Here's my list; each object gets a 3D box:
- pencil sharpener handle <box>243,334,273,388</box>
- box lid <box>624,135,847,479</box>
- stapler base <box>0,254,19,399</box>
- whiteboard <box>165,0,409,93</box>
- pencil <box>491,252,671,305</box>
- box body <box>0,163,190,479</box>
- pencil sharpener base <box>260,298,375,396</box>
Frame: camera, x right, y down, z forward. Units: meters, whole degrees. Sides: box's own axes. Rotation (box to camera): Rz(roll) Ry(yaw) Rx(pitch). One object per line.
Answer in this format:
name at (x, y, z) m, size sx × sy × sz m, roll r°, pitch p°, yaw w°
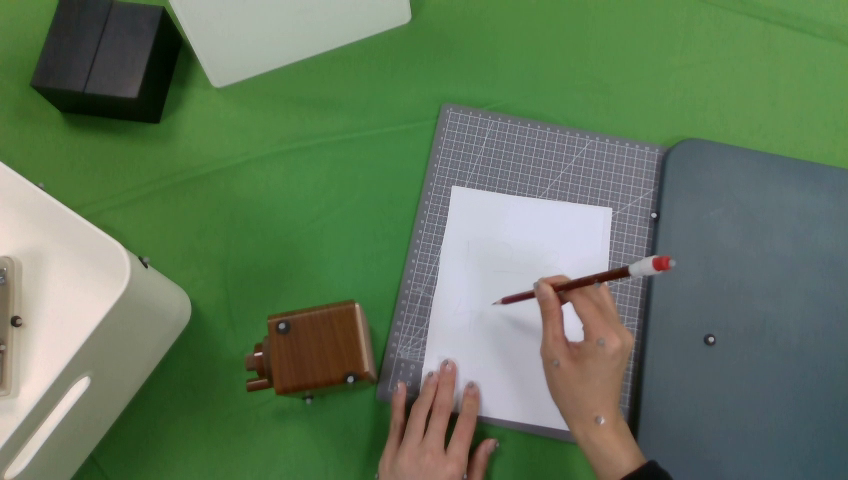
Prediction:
pencil sharpener handle at (-0.134, 0.101, 0.478) m, size 0.031 × 0.068 × 0.035 m, roll -10°, pitch 59°, yaw -4°
box lid at (0.331, 0.087, 0.561) m, size 0.263 × 0.015 × 0.369 m, roll 11°, pitch 75°, yaw 0°
stapler base at (-0.381, 0.074, 0.527) m, size 0.041 × 0.024 × 0.130 m, roll -9°, pitch 77°, yaw -2°
whiteboard at (-0.155, -0.324, 0.535) m, size 0.217 × 0.308 × 0.142 m, roll -21°, pitch 57°, yaw -7°
pencil at (0.108, 0.035, 0.468) m, size 0.012 × 0.194 × 0.012 m, roll 9°, pitch 72°, yaw -28°
box body at (-0.406, 0.042, 0.469) m, size 0.363 × 0.161 × 0.253 m, roll 32°, pitch 76°, yaw 7°
pencil sharpener base at (-0.084, 0.091, 0.496) m, size 0.077 × 0.107 × 0.061 m, roll -10°, pitch 75°, yaw -4°
